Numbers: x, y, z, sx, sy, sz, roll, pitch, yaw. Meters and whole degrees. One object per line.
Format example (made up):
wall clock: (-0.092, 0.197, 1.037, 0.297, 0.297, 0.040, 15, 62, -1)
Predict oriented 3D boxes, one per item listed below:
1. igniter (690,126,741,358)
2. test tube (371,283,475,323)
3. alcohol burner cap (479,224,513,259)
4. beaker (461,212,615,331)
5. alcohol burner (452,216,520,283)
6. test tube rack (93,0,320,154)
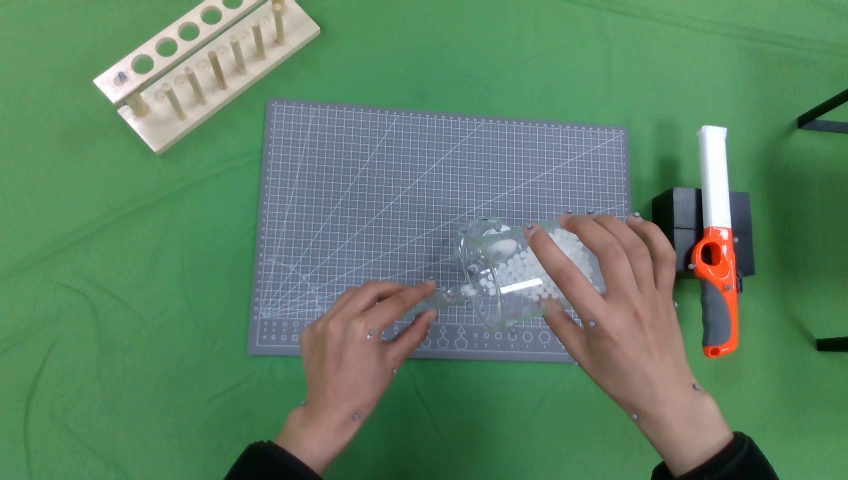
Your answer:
igniter: (0.336, -0.002, 0.703, 0.057, 0.025, 0.275, 6, 76, -5)
test tube: (-0.006, 0.059, 0.551, 0.017, 0.150, 0.017, 11, 70, -33)
alcohol burner cap: (0.077, 0.000, 0.628, 0.034, 0.048, 0.033, 1, 80, -4)
beaker: (0.087, 0.023, 0.468, 0.100, 0.084, 0.073, -13, 80, -12)
alcohol burner: (0.072, 0.007, 0.662, 0.078, 0.119, 0.077, 2, 76, -9)
test tube rack: (-0.231, -0.207, 0.676, 0.242, 0.085, 0.066, -42, 87, -14)
